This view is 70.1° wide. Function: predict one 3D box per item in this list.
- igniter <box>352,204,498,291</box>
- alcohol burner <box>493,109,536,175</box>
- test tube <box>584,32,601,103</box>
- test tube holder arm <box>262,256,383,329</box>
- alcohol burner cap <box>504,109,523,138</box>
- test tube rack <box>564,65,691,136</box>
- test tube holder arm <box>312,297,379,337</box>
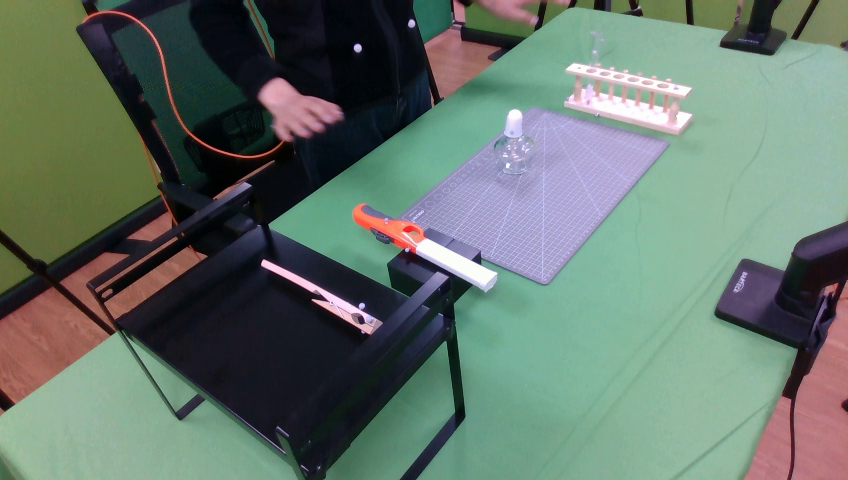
[{"bbox_3d":[-0.009,0.005,0.895,0.274,0.025,0.057,27,48,32],"label":"igniter"},{"bbox_3d":[0.162,-0.179,1.087,0.078,0.119,0.077,-5,39,5],"label":"alcohol burner"},{"bbox_3d":[0.333,-0.338,1.198,0.017,0.151,0.017,-3,45,3],"label":"test tube"},{"bbox_3d":[-0.113,0.054,0.647,0.177,0.015,0.013,26,80,33],"label":"test tube holder arm"},{"bbox_3d":[0.159,-0.206,1.063,0.034,0.048,0.033,0,41,1],"label":"alcohol burner cap"},{"bbox_3d":[0.404,-0.288,1.204,0.240,0.085,0.067,24,49,32],"label":"test tube rack"},{"bbox_3d":[-0.082,0.075,0.622,0.087,0.015,0.010,26,81,33],"label":"test tube holder arm"}]
